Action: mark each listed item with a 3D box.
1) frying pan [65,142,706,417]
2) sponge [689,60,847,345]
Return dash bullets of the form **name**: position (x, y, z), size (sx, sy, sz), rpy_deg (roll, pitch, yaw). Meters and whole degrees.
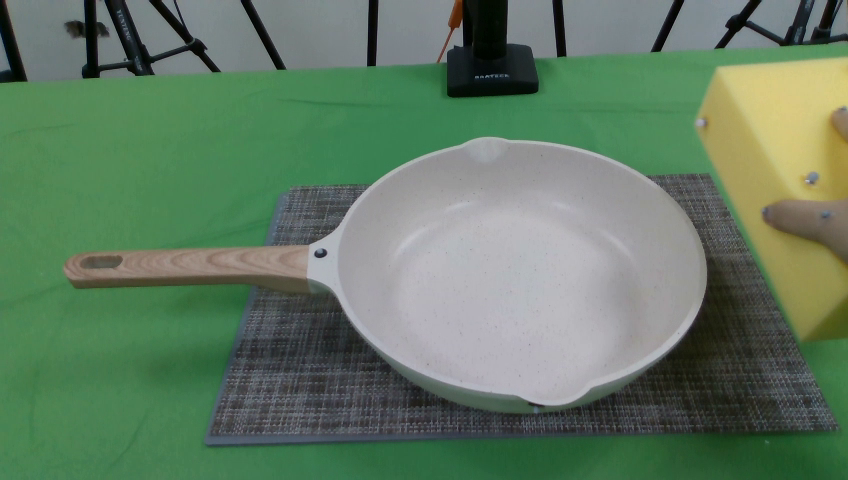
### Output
- **frying pan**: position (-0.031, 0.024, 0.495), size (0.489, 0.103, 0.303), rpy_deg (1, 41, -6)
- **sponge**: position (0.283, -0.036, 0.417), size (0.118, 0.061, 0.204), rpy_deg (-6, 51, -1)
